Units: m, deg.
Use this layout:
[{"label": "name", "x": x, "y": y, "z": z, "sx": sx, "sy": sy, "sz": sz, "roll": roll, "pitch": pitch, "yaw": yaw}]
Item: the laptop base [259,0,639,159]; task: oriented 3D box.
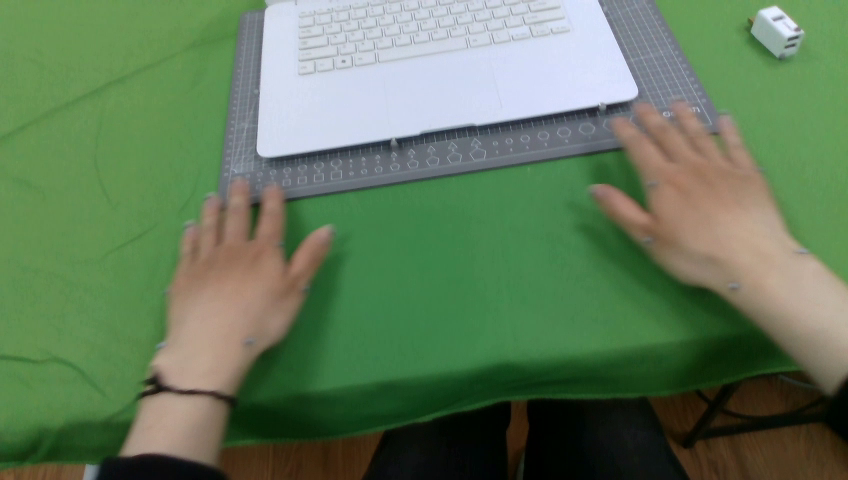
[{"label": "laptop base", "x": 0.011, "y": -0.190, "z": 0.618, "sx": 0.354, "sy": 0.023, "sz": 0.233, "roll": -9, "pitch": 57, "yaw": 1}]

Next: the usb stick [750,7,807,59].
[{"label": "usb stick", "x": 0.335, "y": -0.202, "z": 0.578, "sx": 0.021, "sy": 0.027, "sz": 0.058, "roll": -17, "pitch": 52, "yaw": -3}]

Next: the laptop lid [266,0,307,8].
[{"label": "laptop lid", "x": -0.018, "y": -0.378, "z": 0.616, "sx": 0.357, "sy": 0.244, "sz": 0.013, "roll": -10, "pitch": 36, "yaw": 2}]
